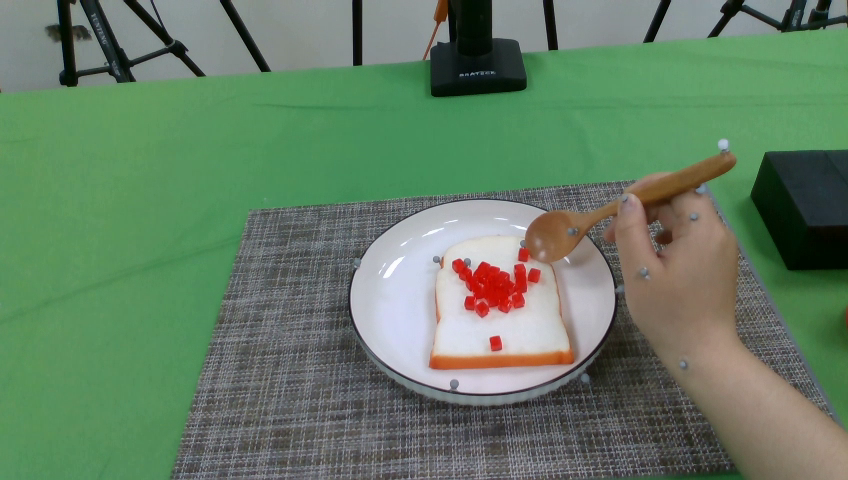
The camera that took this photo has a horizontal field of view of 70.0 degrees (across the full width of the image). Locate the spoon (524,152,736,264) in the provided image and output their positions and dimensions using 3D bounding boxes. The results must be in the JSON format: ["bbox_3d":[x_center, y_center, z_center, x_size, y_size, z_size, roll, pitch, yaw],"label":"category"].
[{"bbox_3d":[0.131,-0.019,0.424,0.022,0.193,0.041,-4,78,-25],"label":"spoon"}]

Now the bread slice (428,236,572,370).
[{"bbox_3d":[0.056,0.046,0.485,0.105,0.019,0.130,-2,44,4],"label":"bread slice"}]

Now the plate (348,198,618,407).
[{"bbox_3d":[0.044,0.046,0.484,0.209,0.038,0.207,-3,43,4],"label":"plate"}]
